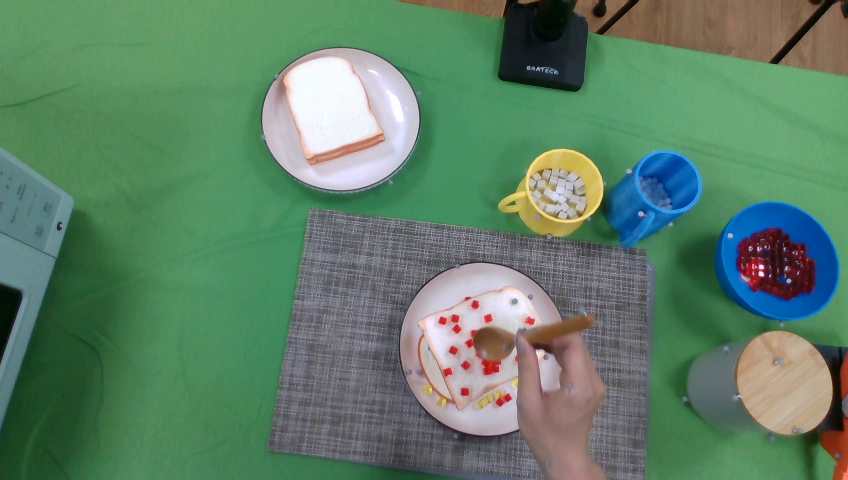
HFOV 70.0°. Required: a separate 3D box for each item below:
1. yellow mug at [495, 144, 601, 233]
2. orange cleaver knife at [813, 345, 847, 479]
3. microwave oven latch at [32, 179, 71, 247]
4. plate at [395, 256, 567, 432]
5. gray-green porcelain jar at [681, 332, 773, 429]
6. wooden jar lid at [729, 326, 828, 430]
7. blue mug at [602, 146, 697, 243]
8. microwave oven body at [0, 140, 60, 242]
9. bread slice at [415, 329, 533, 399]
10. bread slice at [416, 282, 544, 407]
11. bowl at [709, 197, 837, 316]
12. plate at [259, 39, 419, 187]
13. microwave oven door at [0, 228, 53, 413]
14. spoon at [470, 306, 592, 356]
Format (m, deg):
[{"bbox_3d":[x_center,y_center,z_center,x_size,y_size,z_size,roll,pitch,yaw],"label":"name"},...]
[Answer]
[{"bbox_3d":[0.155,-0.062,0.783,0.131,0.064,0.099,-12,76,-6],"label":"yellow mug"},{"bbox_3d":[0.491,0.232,0.721,0.012,0.077,0.212,7,101,-1],"label":"orange cleaver knife"},{"bbox_3d":[-0.453,-0.034,0.727,0.030,0.029,0.079,13,75,-1],"label":"microwave oven latch"},{"bbox_3d":[0.068,0.125,0.738,0.209,0.038,0.208,1,75,-4],"label":"plate"},{"bbox_3d":[0.372,0.165,0.708,0.106,0.127,0.105,1,75,-4],"label":"gray-green porcelain jar"},{"bbox_3d":[0.375,0.147,0.647,0.108,0.021,0.108,1,78,-5],"label":"wooden jar lid"},{"bbox_3d":[0.276,-0.047,0.768,0.082,0.106,0.116,28,75,4],"label":"blue mug"},{"bbox_3d":[-0.621,0.084,0.584,0.326,0.261,0.439,10,75,-2],"label":"microwave oven body"},{"bbox_3d":[0.057,0.133,0.740,0.132,0.019,0.104,-23,77,-13],"label":"bread slice"},{"bbox_3d":[0.067,0.107,0.683,0.134,0.018,0.106,-26,84,-16],"label":"bread slice"},{"bbox_3d":[0.426,0.028,0.772,0.151,0.077,0.150,1,75,-4],"label":"bowl"},{"bbox_3d":[-0.111,-0.165,0.806,0.208,0.039,0.206,1,75,-4],"label":"plate"},{"bbox_3d":[-0.484,0.148,0.572,0.039,0.245,0.354,9,74,-1],"label":"microwave oven door"},{"bbox_3d":[0.095,0.087,0.571,0.021,0.193,0.041,-34,90,-25],"label":"spoon"}]
